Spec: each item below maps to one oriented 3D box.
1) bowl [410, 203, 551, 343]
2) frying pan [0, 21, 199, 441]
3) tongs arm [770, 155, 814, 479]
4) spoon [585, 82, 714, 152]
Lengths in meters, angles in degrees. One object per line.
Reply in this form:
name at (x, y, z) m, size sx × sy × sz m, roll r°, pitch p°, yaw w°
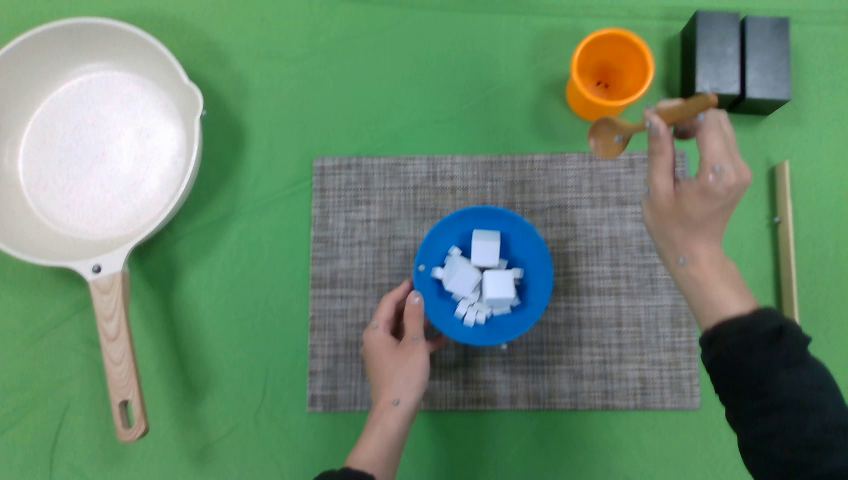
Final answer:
bowl at (0.061, 0.039, 0.678) m, size 0.151 × 0.077 × 0.151 m, roll 0°, pitch 82°, yaw 2°
frying pan at (-0.373, -0.014, 0.690) m, size 0.307 × 0.103 × 0.484 m, roll -17°, pitch 74°, yaw 0°
tongs arm at (0.424, 0.092, 0.691) m, size 0.028 × 0.028 × 0.386 m, roll -2°, pitch 82°, yaw 0°
spoon at (0.178, -0.100, 0.502) m, size 0.021 × 0.193 × 0.041 m, roll -21°, pitch 94°, yaw -4°
